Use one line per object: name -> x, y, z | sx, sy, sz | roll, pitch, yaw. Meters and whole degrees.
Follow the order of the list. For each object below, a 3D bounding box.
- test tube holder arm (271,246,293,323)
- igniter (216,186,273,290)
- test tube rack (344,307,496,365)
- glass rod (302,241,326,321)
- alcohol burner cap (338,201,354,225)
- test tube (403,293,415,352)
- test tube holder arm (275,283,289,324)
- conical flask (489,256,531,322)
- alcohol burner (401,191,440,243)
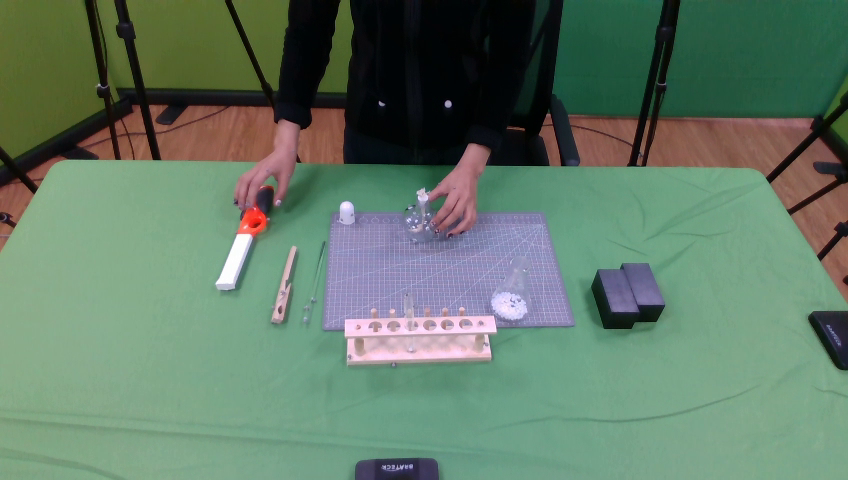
test tube holder arm -> -0.259, 0.076, 1.106 | 0.013, 0.015, 0.177 | 28, 38, -27
igniter -> -0.347, -0.014, 1.182 | 0.057, 0.025, 0.275 | 0, 45, 7
test tube rack -> -0.009, 0.154, 1.007 | 0.242, 0.085, 0.066 | -1, 46, -5
glass rod -> -0.203, 0.071, 1.124 | 0.008, 0.008, 0.198 | 4, 44, 1
alcohol burner cap -> -0.159, -0.056, 1.224 | 0.034, 0.048, 0.033 | 2, 47, -2
test tube -> -0.024, 0.133, 0.957 | 0.017, 0.151, 0.017 | 0, 48, 0
test tube holder arm -> -0.253, 0.111, 1.077 | 0.010, 0.015, 0.087 | 29, 38, -26
conical flask -> 0.158, 0.081, 1.061 | 0.075, 0.122, 0.075 | 2, 46, -2
alcohol burner -> -0.006, -0.052, 1.182 | 0.078, 0.119, 0.077 | 3, 47, -3
